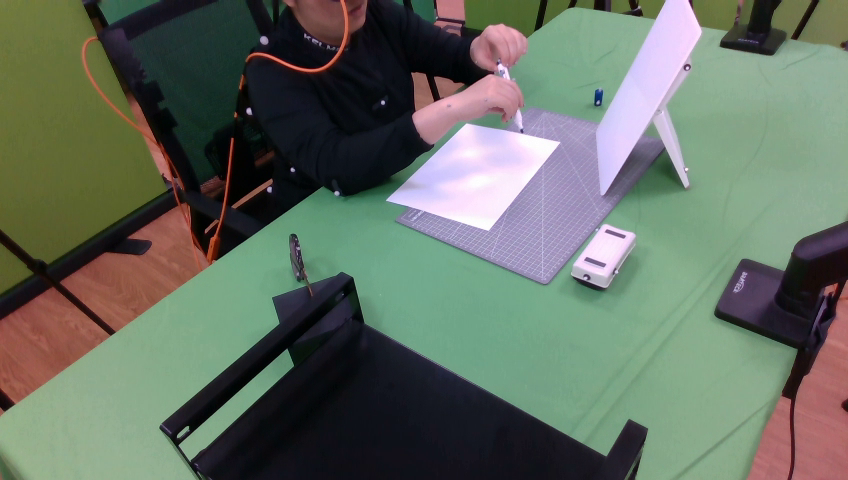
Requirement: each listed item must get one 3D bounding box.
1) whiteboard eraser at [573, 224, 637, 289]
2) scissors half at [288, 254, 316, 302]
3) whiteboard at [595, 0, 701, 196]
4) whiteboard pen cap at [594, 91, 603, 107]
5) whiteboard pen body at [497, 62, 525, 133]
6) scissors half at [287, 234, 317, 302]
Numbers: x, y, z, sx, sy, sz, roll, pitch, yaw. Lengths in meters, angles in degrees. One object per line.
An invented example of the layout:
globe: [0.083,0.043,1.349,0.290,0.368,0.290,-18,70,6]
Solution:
whiteboard eraser: [0.267,0.025,0.891,0.055,0.042,0.113,19,47,31]
scissors half: [-0.178,0.058,0.894,0.013,0.040,0.174,-16,20,-18]
whiteboard: [0.420,-0.227,1.010,0.144,0.305,0.216,18,42,-2]
whiteboard pen cap: [0.364,-0.294,1.262,0.018,0.033,0.018,-5,42,5]
whiteboard pen body: [0.157,-0.254,1.081,0.017,0.017,0.140,-15,79,-9]
scissors half: [-0.178,0.040,0.885,0.013,0.040,0.173,-11,36,-21]
